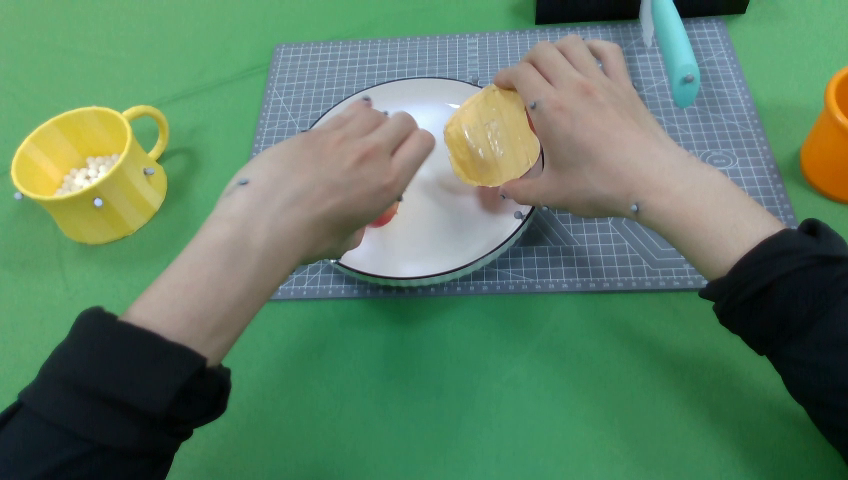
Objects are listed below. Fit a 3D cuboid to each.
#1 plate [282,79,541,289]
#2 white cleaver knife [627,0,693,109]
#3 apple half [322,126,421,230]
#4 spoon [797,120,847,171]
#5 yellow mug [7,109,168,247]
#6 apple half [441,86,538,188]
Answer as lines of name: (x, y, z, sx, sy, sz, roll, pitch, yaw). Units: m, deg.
plate: (-0.010, -0.047, 0.498, 0.209, 0.038, 0.207, -3, 57, 5)
white cleaver knife: (0.209, -0.220, 0.568, 0.021, 0.066, 0.283, -4, 53, 9)
apple half: (-0.049, -0.054, 0.466, 0.081, 0.054, 0.074, -59, 34, 6)
spoon: (0.369, -0.108, 0.432, 0.022, 0.194, 0.041, 24, 46, -30)
yellow mug: (-0.276, -0.064, 0.523, 0.099, 0.064, 0.130, 29, 64, 22)
apple half: (0.053, -0.078, 0.478, 0.081, 0.033, 0.081, 0, 92, 25)
